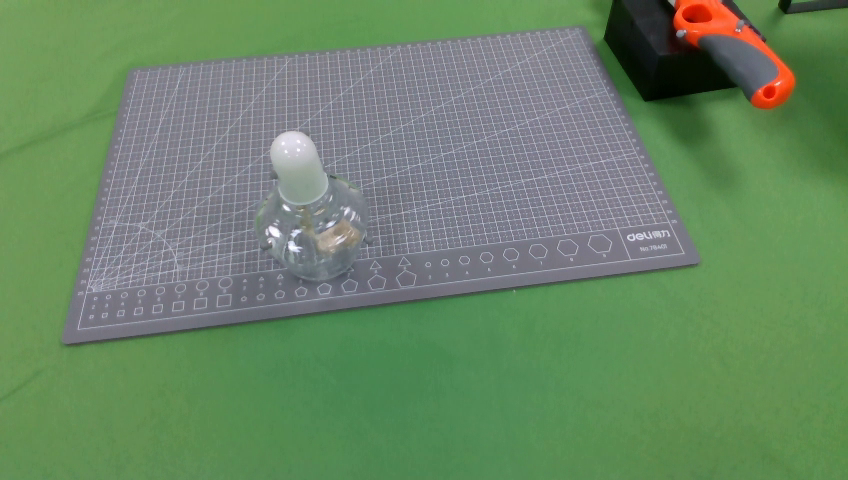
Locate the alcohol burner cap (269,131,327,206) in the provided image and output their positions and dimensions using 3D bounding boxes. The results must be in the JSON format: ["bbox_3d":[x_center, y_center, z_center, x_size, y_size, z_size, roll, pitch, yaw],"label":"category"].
[{"bbox_3d":[-0.081,-0.047,0.377,0.034,0.048,0.033,0,57,0],"label":"alcohol burner cap"}]

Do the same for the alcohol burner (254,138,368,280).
[{"bbox_3d":[-0.078,-0.026,0.405,0.078,0.120,0.077,-1,55,2],"label":"alcohol burner"}]

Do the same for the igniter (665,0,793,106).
[{"bbox_3d":[0.235,-0.208,0.534,0.057,0.025,0.273,-13,52,-5],"label":"igniter"}]
